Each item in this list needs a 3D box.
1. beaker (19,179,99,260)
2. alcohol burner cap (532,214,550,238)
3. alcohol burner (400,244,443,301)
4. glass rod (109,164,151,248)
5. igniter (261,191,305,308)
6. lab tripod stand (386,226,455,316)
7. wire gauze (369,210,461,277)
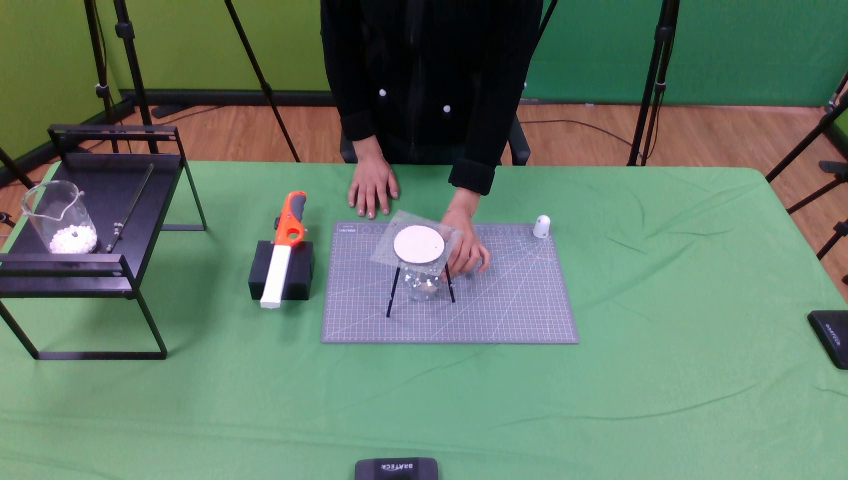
[{"bbox_3d":[-0.522,-0.024,0.877,0.074,0.101,0.083,-26,54,-25],"label":"beaker"},{"bbox_3d":[0.240,-0.031,1.228,0.034,0.048,0.033,2,46,-1],"label":"alcohol burner cap"},{"bbox_3d":[-0.004,0.052,1.080,0.078,0.119,0.077,3,43,-2],"label":"alcohol burner"},{"bbox_3d":[-0.473,-0.061,0.979,0.008,0.008,0.198,1,46,-3],"label":"glass rod"},{"bbox_3d":[-0.255,0.007,1.104,0.057,0.025,0.275,5,47,-4],"label":"igniter"},{"bbox_3d":[-0.013,0.054,1.064,0.148,0.132,0.147,2,48,-2],"label":"lab tripod stand"},{"bbox_3d":[-0.013,0.005,1.017,0.121,0.011,0.124,17,49,12],"label":"wire gauze"}]
